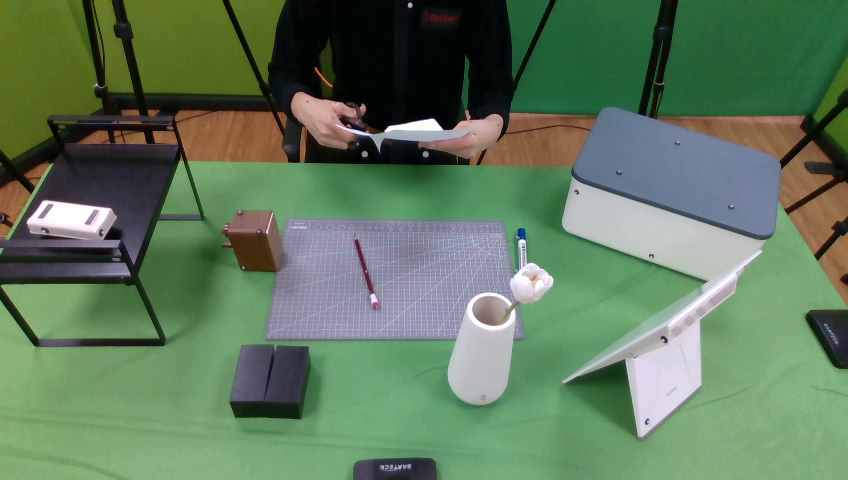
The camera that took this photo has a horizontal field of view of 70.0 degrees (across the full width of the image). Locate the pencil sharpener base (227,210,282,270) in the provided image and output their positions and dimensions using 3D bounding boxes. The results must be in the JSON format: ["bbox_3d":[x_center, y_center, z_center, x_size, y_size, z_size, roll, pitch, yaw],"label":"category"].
[{"bbox_3d":[-0.311,0.001,1.112,0.077,0.107,0.061,1,47,1],"label":"pencil sharpener base"}]

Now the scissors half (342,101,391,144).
[{"bbox_3d":[-0.101,-0.200,1.043,0.013,0.040,0.174,-13,38,-30],"label":"scissors half"}]

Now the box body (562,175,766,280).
[{"bbox_3d":[0.486,-0.088,1.222,0.363,0.161,0.253,20,48,15],"label":"box body"}]

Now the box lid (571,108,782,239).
[{"bbox_3d":[0.491,-0.139,1.168,0.370,0.015,0.262,21,49,15],"label":"box lid"}]

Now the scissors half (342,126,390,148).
[{"bbox_3d":[-0.102,-0.180,1.050,0.013,0.040,0.174,-8,10,-32],"label":"scissors half"}]

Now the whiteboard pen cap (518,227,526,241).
[{"bbox_3d":[0.197,-0.009,1.220,0.018,0.018,0.033,5,51,0],"label":"whiteboard pen cap"}]

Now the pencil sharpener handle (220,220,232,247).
[{"bbox_3d":[-0.362,-0.009,1.105,0.030,0.068,0.036,1,52,1],"label":"pencil sharpener handle"}]

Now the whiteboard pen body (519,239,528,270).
[{"bbox_3d":[0.193,0.035,1.181,0.017,0.017,0.140,6,48,1],"label":"whiteboard pen body"}]

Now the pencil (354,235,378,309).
[{"bbox_3d":[-0.112,0.055,1.143,0.012,0.012,0.192,-10,46,-13],"label":"pencil"}]

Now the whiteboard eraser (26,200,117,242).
[{"bbox_3d":[-0.532,-0.026,0.919,0.113,0.042,0.055,7,45,3],"label":"whiteboard eraser"}]

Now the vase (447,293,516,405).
[{"bbox_3d":[0.091,0.168,0.921,0.098,0.201,0.097,3,47,-3],"label":"vase"}]

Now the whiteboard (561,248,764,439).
[{"bbox_3d":[0.386,0.176,0.905,0.217,0.306,0.143,-26,72,-27],"label":"whiteboard"}]

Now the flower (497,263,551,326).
[{"bbox_3d":[0.102,0.121,0.852,0.044,0.363,0.038,-2,64,-10],"label":"flower"}]
